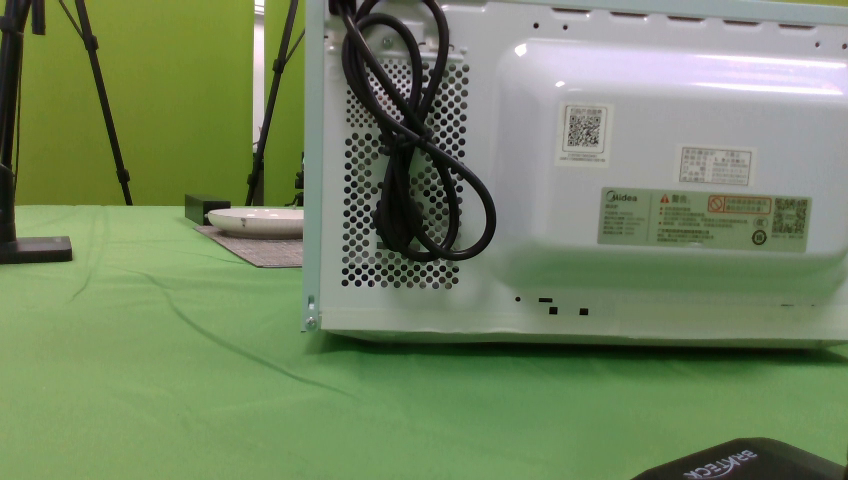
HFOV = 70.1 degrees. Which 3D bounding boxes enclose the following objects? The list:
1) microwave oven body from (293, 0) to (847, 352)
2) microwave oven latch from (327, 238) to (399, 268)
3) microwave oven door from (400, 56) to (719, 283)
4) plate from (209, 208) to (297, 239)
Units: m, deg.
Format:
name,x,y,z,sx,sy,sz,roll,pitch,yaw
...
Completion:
name,x,y,z,sx,sy,sz,roll,pitch,yaw
microwave oven body,0.122,-0.055,0.550,0.442,0.260,0.325,3,7,-5
microwave oven latch,-0.069,0.015,0.694,0.079,0.029,0.030,3,7,-3
microwave oven door,0.155,-0.077,0.698,0.356,0.243,0.039,2,8,-5
plate,-0.271,-0.029,1.074,0.208,0.039,0.207,3,7,0
